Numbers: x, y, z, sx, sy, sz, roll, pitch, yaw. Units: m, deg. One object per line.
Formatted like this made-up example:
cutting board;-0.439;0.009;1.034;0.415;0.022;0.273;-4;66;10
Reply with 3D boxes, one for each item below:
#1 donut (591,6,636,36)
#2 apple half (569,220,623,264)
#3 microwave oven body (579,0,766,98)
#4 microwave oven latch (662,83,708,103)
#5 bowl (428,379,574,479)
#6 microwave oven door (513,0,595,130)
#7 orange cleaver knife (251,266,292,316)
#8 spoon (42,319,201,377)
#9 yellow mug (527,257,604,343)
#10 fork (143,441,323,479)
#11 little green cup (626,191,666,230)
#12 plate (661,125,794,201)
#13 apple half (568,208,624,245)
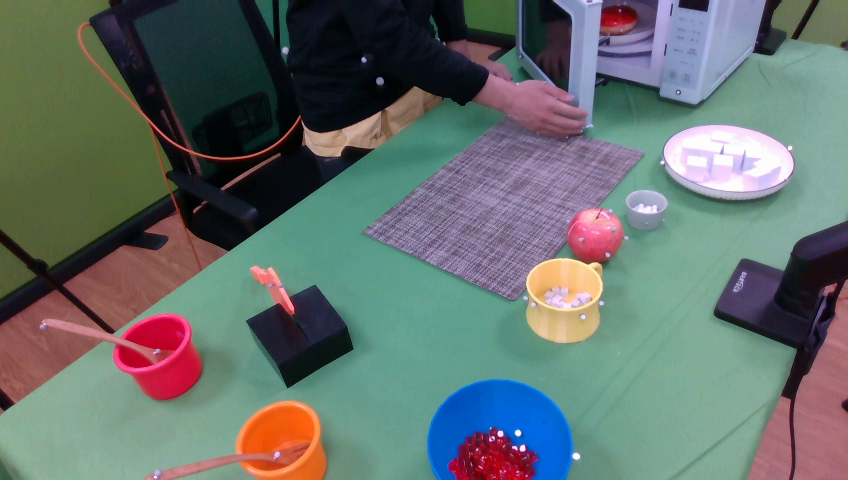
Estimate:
donut;0.426;-0.497;1.365;0.099;0.048;0.098;-3;41;3
apple half;0.251;0.010;0.884;0.081;0.081;0.032;3;37;13
microwave oven body;0.472;-0.513;1.317;0.438;0.261;0.327;25;51;34
microwave oven latch;0.518;-0.296;1.204;0.078;0.029;0.030;28;52;36
bowl;0.082;0.233;0.644;0.151;0.077;0.150;-4;39;4
microwave oven door;0.256;-0.413;1.225;0.039;0.245;0.353;-13;40;-7
orange cleaver knife;-0.221;0.071;0.873;0.012;0.077;0.210;-25;11;-21
spoon;-0.385;0.135;0.779;0.195;0.021;0.041;29;37;-27
yellow mug;0.201;0.072;0.825;0.131;0.064;0.099;-32;46;-27
fork;-0.190;0.231;0.631;0.028;0.018;0.209;37;13;37
little green cup;0.352;-0.046;0.963;0.061;0.039;0.061;-4;40;4
plate;0.513;-0.128;1.035;0.207;0.039;0.206;-4;40;4
apple half;0.259;-0.014;0.914;0.080;0.075;0.053;0;36;15
